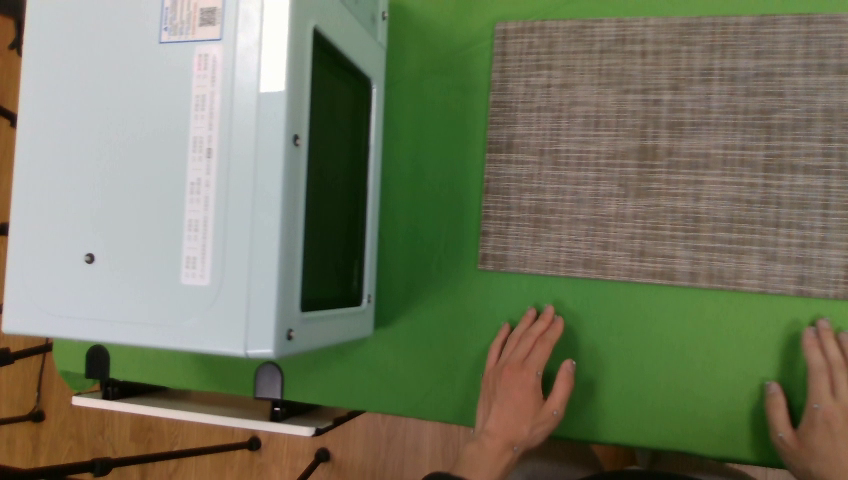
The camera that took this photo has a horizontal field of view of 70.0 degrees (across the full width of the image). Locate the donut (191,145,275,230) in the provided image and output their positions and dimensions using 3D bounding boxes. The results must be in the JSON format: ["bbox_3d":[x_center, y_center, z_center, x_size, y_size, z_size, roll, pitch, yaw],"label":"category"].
[{"bbox_3d":[-0.218,-0.060,0.693,0.099,0.048,0.099,-1,86,9],"label":"donut"}]

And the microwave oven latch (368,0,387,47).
[{"bbox_3d":[-0.061,-0.278,0.739,0.030,0.029,0.079,2,88,15],"label":"microwave oven latch"}]

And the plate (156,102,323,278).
[{"bbox_3d":[-0.216,-0.057,0.721,0.207,0.039,0.207,-1,86,11],"label":"plate"}]

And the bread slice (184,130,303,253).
[{"bbox_3d":[-0.221,-0.063,0.718,0.107,0.018,0.133,-44,76,-1],"label":"bread slice"}]

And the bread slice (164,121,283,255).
[{"bbox_3d":[-0.231,-0.063,0.669,0.105,0.019,0.131,-40,81,13],"label":"bread slice"}]

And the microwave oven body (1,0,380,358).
[{"bbox_3d":[-0.238,-0.112,0.679,0.325,0.261,0.441,2,88,15],"label":"microwave oven body"}]

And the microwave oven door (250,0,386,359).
[{"bbox_3d":[-0.101,-0.066,0.634,0.039,0.245,0.355,2,88,16],"label":"microwave oven door"}]
